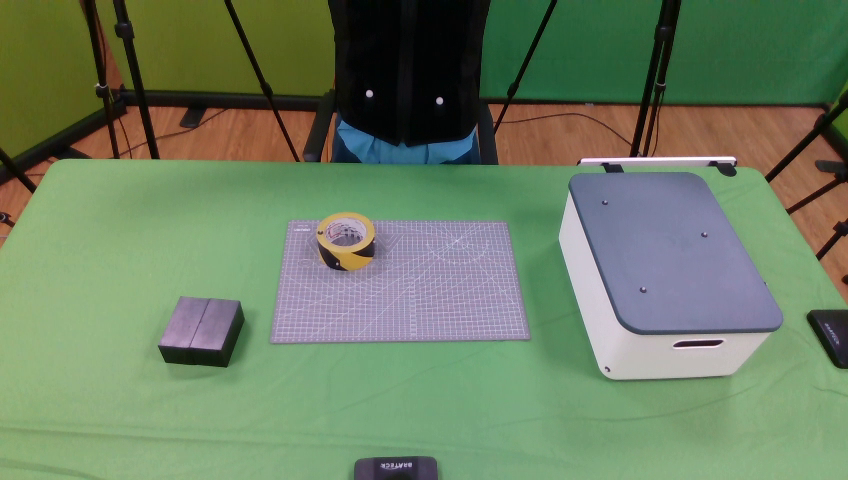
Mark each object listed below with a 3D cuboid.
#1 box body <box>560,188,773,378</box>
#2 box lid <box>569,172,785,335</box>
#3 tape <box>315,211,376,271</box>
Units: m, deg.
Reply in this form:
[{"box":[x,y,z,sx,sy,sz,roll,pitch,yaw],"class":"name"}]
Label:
[{"box":[0.405,0.057,1.074,0.254,0.161,0.361,-2,46,-5],"class":"box body"},{"box":[0.408,0.007,1.019,0.263,0.015,0.369,-1,46,-5],"class":"box lid"},{"box":[-0.150,0.000,1.160,0.117,0.053,0.116,3,46,-3],"class":"tape"}]
